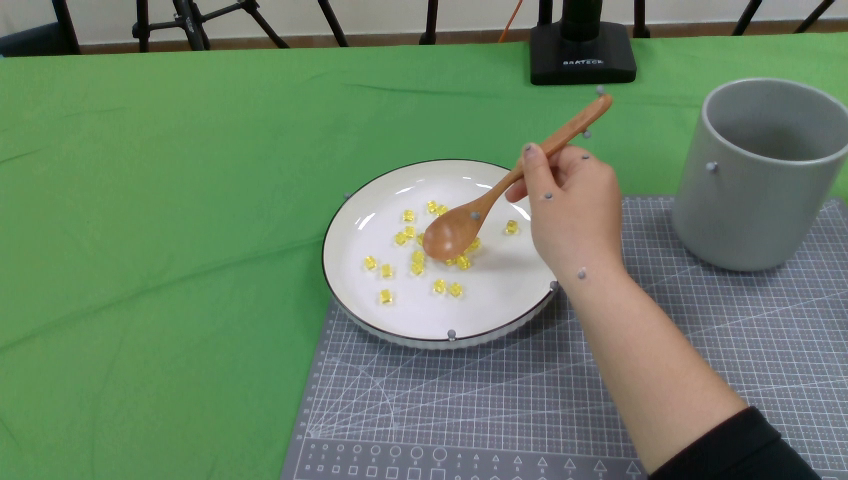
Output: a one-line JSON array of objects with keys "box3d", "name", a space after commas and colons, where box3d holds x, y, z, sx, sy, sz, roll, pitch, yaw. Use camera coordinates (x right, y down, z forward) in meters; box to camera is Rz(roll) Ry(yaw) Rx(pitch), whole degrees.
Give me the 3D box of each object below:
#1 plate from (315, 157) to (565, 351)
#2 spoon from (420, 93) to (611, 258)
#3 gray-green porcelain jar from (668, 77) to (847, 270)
[{"box3d": [0.013, 0.010, 0.519, 0.207, 0.039, 0.205, -3, 48, 3], "name": "plate"}, {"box3d": [0.068, -0.048, 0.480, 0.022, 0.194, 0.041, 10, 47, -48], "name": "spoon"}, {"box3d": [0.258, -0.047, 0.483, 0.106, 0.128, 0.105, -3, 47, 4], "name": "gray-green porcelain jar"}]
